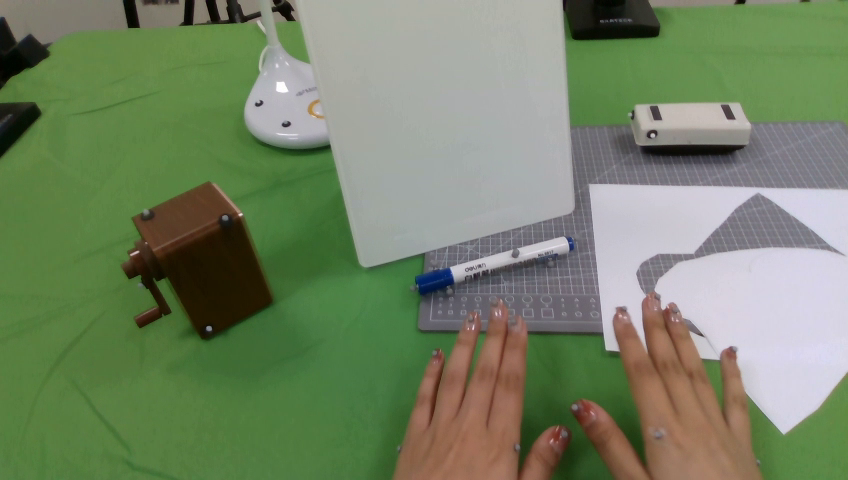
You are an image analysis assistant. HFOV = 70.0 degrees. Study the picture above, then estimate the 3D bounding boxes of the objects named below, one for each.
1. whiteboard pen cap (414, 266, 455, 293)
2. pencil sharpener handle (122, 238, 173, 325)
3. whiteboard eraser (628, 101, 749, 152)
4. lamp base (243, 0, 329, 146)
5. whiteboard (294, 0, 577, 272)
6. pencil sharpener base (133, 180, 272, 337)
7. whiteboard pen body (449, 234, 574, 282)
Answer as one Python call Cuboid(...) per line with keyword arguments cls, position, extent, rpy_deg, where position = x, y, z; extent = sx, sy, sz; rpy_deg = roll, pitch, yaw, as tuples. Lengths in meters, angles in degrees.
Cuboid(cls="whiteboard pen cap", position=(0.009, 0.034, 0.524), extent=(0.033, 0.018, 0.018), rpy_deg=(-16, 45, -9))
Cuboid(cls="pencil sharpener handle", position=(-0.221, 0.034, 0.471), extent=(0.030, 0.068, 0.035), rpy_deg=(-31, 37, -24))
Cuboid(cls="whiteboard eraser", position=(0.279, -0.121, 0.645), extent=(0.112, 0.042, 0.055), rpy_deg=(1, 45, 7))
Cuboid(cls="lamp base", position=(-0.156, -0.226, 0.700), extent=(0.160, 0.182, 0.177), rpy_deg=(-36, 49, -28))
Cuboid(cls="whiteboard", position=(0.004, -0.160, 0.568), extent=(0.217, 0.308, 0.142), rpy_deg=(-15, 25, -8))
Cuboid(cls="pencil sharpener base", position=(-0.182, 0.018, 0.502), extent=(0.077, 0.108, 0.060), rpy_deg=(-31, 50, -24))
Cuboid(cls="whiteboard pen body", position=(0.066, 0.019, 0.533), extent=(0.141, 0.017, 0.017), rpy_deg=(-15, 44, -8))
